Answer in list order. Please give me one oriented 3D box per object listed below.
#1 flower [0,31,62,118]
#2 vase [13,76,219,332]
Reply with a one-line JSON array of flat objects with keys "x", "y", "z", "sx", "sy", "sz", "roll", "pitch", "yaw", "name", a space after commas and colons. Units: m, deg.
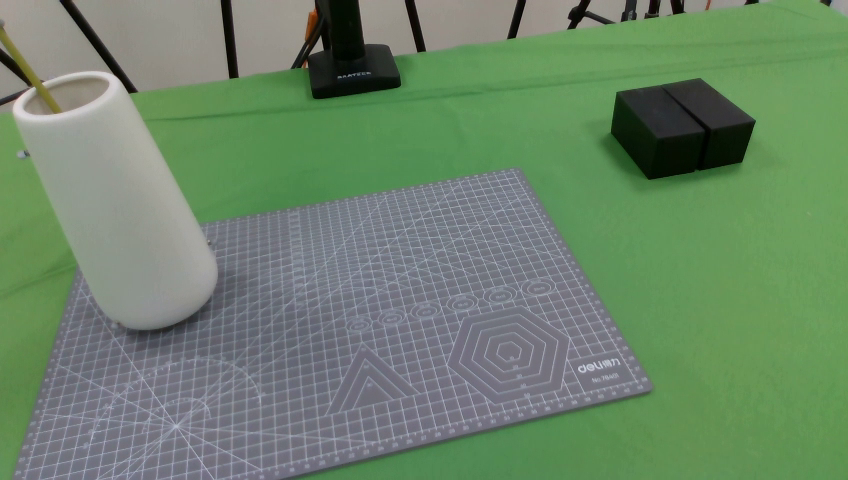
[{"x": -0.253, "y": -0.085, "z": 0.420, "sx": 0.044, "sy": 0.365, "sz": 0.038, "roll": -38, "pitch": 35, "yaw": -24, "name": "flower"}, {"x": -0.230, "y": -0.021, "z": 0.470, "sx": 0.098, "sy": 0.202, "sz": 0.097, "roll": -2, "pitch": 40, "yaw": 2, "name": "vase"}]
